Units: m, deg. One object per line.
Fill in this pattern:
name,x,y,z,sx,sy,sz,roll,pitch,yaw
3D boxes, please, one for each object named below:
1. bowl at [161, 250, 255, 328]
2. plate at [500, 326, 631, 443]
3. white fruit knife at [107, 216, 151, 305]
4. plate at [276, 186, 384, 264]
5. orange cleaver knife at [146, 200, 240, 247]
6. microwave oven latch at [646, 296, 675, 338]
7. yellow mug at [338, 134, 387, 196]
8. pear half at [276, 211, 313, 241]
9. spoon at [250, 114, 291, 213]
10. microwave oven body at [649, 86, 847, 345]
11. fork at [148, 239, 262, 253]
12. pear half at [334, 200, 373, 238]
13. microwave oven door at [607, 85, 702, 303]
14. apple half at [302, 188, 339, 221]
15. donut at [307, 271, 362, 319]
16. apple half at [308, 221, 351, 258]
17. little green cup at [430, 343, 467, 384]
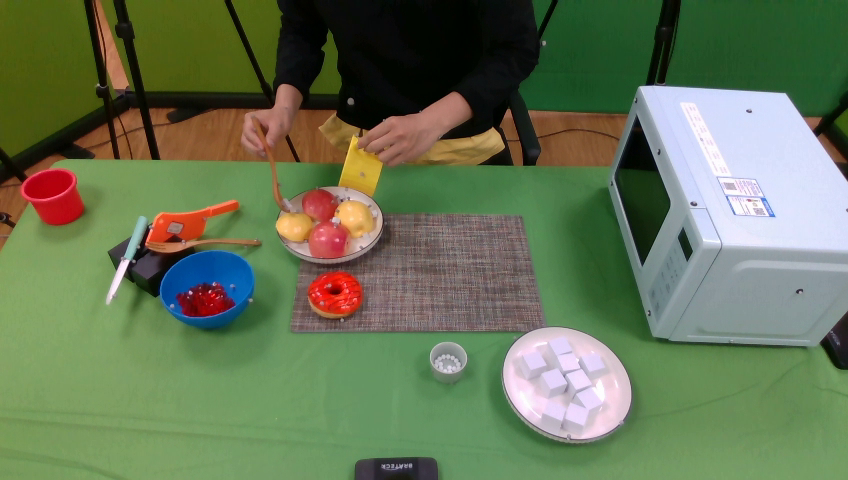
bowl,-0.362,0.097,1.040,0.151,0.077,0.150,2,45,-2
plate,0.224,0.234,0.978,0.208,0.039,0.206,2,46,-2
white fruit knife,-0.519,0.032,1.067,0.027,0.016,0.206,-19,45,19
plate,-0.184,-0.027,1.195,0.209,0.038,0.208,2,46,-2
orange cleaver knife,-0.435,-0.033,1.157,0.012,0.077,0.211,31,26,18
microwave oven latch,0.412,0.134,1.061,0.030,0.029,0.078,4,45,1
yellow mug,-0.109,-0.144,1.094,0.064,0.131,0.099,16,61,-10
pear half,-0.244,-0.035,1.178,0.070,0.031,0.088,41,42,0
spoon,-0.281,-0.138,1.112,0.021,0.194,0.041,-12,23,-2
microwave oven body,0.568,-0.053,1.118,0.326,0.261,0.439,2,45,-1
fork,-0.398,0.008,1.117,0.208,0.019,0.028,-5,34,-37
pear half,-0.147,-0.059,1.210,0.076,0.056,0.109,-17,45,-25
microwave oven door,0.423,-0.094,1.140,0.039,0.245,0.353,2,46,-1
apple half,-0.204,-0.076,1.217,0.081,0.033,0.081,17,47,-19
donut,-0.157,0.097,1.072,0.099,0.048,0.098,4,45,-4
apple half,-0.180,-0.005,1.149,0.074,0.053,0.080,14,44,9
little green cup,0.039,0.203,0.993,0.061,0.039,0.061,2,46,-2
